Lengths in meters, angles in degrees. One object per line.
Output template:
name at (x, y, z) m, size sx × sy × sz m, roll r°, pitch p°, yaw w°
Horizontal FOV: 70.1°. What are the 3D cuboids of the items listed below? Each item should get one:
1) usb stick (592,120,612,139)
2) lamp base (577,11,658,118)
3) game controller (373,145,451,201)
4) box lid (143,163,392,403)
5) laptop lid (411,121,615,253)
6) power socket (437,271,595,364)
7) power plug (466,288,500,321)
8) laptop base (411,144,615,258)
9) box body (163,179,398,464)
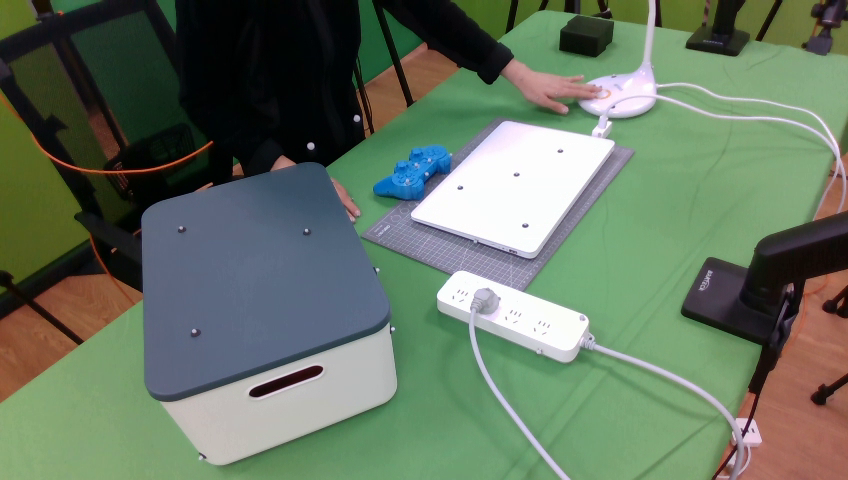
usb stick at (0.335, -0.203, 1.149) m, size 0.021 × 0.027 × 0.059 m, roll 26°, pitch 53°, yaw 26°
lamp base at (0.406, -0.363, 1.223) m, size 0.180 × 0.181 × 0.159 m, roll -20°, pitch 42°, yaw -18°
game controller at (-0.018, -0.130, 1.111) m, size 0.096 × 0.052 × 0.155 m, roll 22°, pitch 48°, yaw 26°
box lid at (-0.212, 0.025, 0.753) m, size 0.264 × 0.015 × 0.368 m, roll -18°, pitch 41°, yaw -13°
laptop lid at (0.164, -0.112, 1.068) m, size 0.240 × 0.013 × 0.357 m, roll 19°, pitch 46°, yaw 30°
power socket at (0.118, 0.102, 0.830) m, size 0.225 × 0.033 × 0.072 m, roll 20°, pitch 48°, yaw 28°
power plug at (0.072, 0.093, 0.813) m, size 0.073 × 0.053 × 0.035 m, roll -37°, pitch 49°, yaw -29°
laptop base at (0.167, -0.102, 1.074) m, size 0.234 × 0.023 × 0.355 m, roll 16°, pitch 45°, yaw 30°
box body at (-0.205, 0.080, 0.802) m, size 0.255 × 0.161 × 0.361 m, roll -18°, pitch 41°, yaw -13°
